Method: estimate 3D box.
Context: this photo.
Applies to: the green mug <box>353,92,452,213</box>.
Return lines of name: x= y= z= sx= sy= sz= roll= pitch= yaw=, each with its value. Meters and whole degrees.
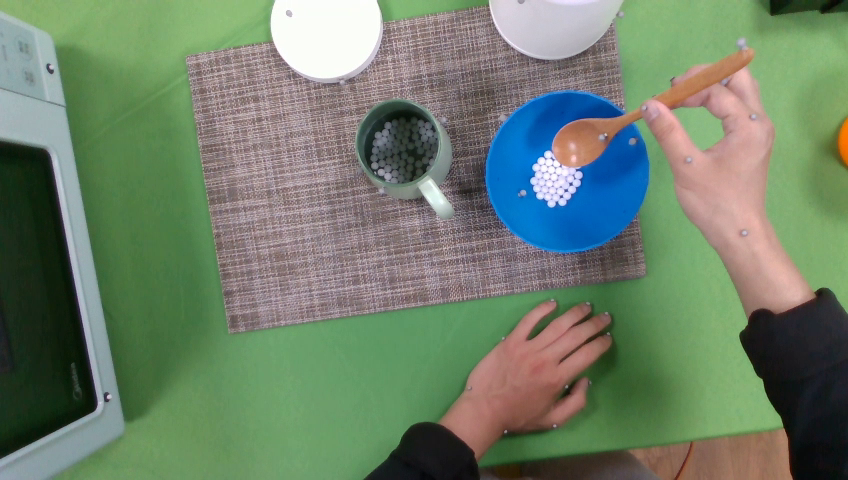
green mug: x=-0.012 y=-0.080 z=0.588 sx=0.092 sy=0.105 sz=0.125 roll=-36 pitch=91 yaw=4

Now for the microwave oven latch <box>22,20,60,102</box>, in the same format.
microwave oven latch: x=-0.403 y=-0.182 z=0.624 sx=0.030 sy=0.029 sz=0.079 roll=-10 pitch=93 yaw=3

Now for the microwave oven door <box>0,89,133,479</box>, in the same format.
microwave oven door: x=-0.372 y=0.038 z=0.534 sx=0.039 sy=0.244 sz=0.356 roll=-11 pitch=92 yaw=4

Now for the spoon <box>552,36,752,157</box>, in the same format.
spoon: x=0.171 y=-0.109 z=0.483 sx=0.021 sy=0.193 sz=0.041 roll=-32 pitch=95 yaw=-28

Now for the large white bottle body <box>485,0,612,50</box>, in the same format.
large white bottle body: x=0.118 y=-0.259 z=0.531 sx=0.130 sy=0.185 sz=0.130 roll=0 pitch=89 yaw=4

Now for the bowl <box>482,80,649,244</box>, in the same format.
bowl: x=0.132 y=-0.073 z=0.594 sx=0.151 sy=0.077 sz=0.151 roll=0 pitch=93 yaw=4

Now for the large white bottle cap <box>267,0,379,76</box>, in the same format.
large white bottle cap: x=-0.105 y=-0.229 z=0.628 sx=0.115 sy=0.018 sz=0.115 roll=0 pitch=92 yaw=3

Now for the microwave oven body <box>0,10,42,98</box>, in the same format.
microwave oven body: x=-0.523 y=0.023 z=0.546 sx=0.326 sy=0.260 sz=0.442 roll=-10 pitch=93 yaw=3
